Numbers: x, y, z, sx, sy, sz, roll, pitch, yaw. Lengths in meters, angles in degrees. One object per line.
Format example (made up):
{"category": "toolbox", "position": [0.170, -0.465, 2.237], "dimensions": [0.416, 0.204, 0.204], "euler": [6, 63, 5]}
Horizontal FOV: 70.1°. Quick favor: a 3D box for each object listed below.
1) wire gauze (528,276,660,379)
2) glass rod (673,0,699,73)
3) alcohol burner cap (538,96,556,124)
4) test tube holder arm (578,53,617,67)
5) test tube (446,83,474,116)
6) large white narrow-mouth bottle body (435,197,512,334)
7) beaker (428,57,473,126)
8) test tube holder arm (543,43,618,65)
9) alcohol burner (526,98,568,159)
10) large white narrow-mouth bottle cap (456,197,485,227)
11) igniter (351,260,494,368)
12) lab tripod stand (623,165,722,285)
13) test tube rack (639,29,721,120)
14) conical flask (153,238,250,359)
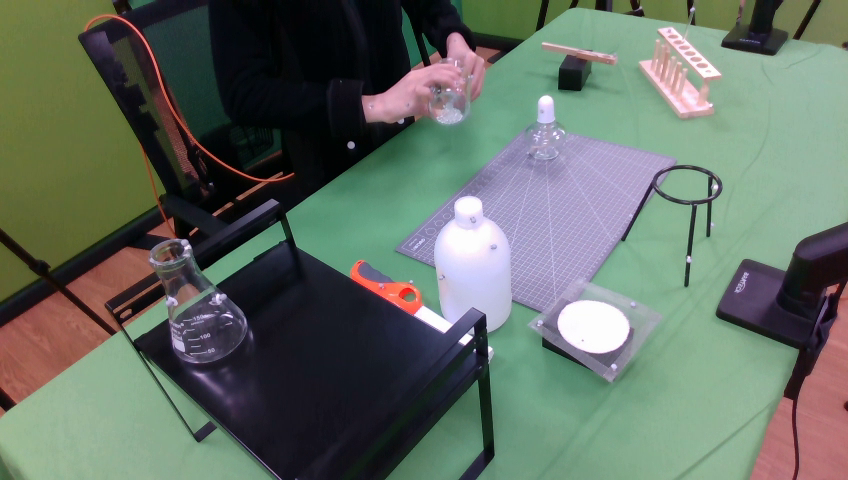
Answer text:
{"category": "wire gauze", "position": [0.214, 0.103, 0.763], "dimensions": [0.124, 0.011, 0.122], "euler": [30, 52, 35]}
{"category": "glass rod", "position": [0.538, -0.425, 1.245], "dimensions": [0.008, 0.200, 0.008], "euler": [0, 47, 0]}
{"category": "alcohol burner cap", "position": [0.222, -0.237, 1.095], "dimensions": [0.034, 0.048, 0.033], "euler": [-7, 35, 5]}
{"category": "test tube holder arm", "position": [0.376, -0.393, 1.314], "dimensions": [0.087, 0.015, 0.010], "euler": [26, 51, 32]}
{"category": "test tube", "position": [0.068, -0.254, 1.104], "dimensions": [0.017, 0.151, 0.017], "euler": [-2, 84, 19]}
{"category": "large white narrow-mouth bottle body", "position": [0.066, 0.028, 0.805], "dimensions": [0.102, 0.195, 0.101], "euler": [-4, 40, 4]}
{"category": "beaker", "position": [0.044, -0.241, 0.999], "dimensions": [0.074, 0.084, 0.100], "euler": [-1, 44, 7]}
{"category": "test tube holder arm", "position": [0.344, -0.413, 1.341], "dimensions": [0.177, 0.015, 0.013], "euler": [25, 50, 31]}
{"category": "alcohol burner", "position": [0.228, -0.210, 1.118], "dimensions": [0.078, 0.119, 0.077], "euler": [-5, 43, 5]}
{"category": "large white narrow-mouth bottle cap", "position": [0.057, -0.036, 0.750], "dimensions": [0.038, 0.024, 0.037], "euler": [-4, 40, 4]}
{"category": "igniter", "position": [-0.013, 0.098, 0.864], "dimensions": [0.274, 0.025, 0.057], "euler": [30, 65, 36]}
{"category": "lab tripod stand", "position": [0.365, -0.030, 0.874], "dimensions": [0.148, 0.132, 0.147], "euler": [-6, 41, 6]}
{"category": "test tube rack", "position": [0.527, -0.351, 1.262], "dimensions": [0.067, 0.085, 0.241], "euler": [-8, 40, 1]}
{"category": "conical flask", "position": [-0.225, 0.055, 0.597], "dimensions": [0.075, 0.122, 0.075], "euler": [-5, 41, 4]}
